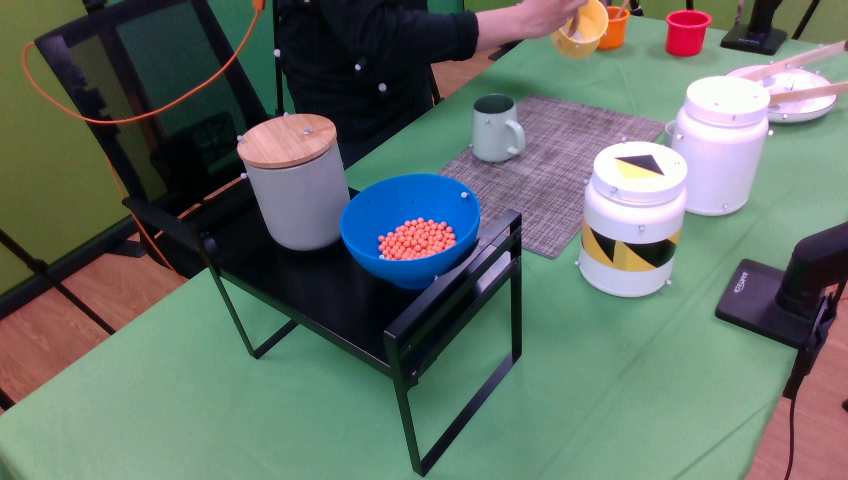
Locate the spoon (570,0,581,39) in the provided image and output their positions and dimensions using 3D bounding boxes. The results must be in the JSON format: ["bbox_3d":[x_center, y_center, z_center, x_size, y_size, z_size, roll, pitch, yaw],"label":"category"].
[{"bbox_3d":[0.272,-0.437,1.078,0.021,0.195,0.041,6,63,15],"label":"spoon"}]

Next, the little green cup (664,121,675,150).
[{"bbox_3d":[0.472,-0.188,1.113,0.061,0.039,0.061,-4,40,4],"label":"little green cup"}]

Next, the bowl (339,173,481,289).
[{"bbox_3d":[-0.011,0.001,0.660,0.151,0.077,0.150,-5,41,5],"label":"bowl"}]

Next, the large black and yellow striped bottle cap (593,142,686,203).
[{"bbox_3d":[0.280,-0.090,0.786,0.115,0.019,0.114,-5,41,5],"label":"large black and yellow striped bottle cap"}]

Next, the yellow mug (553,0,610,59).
[{"bbox_3d":[0.315,-0.438,1.211,0.100,0.064,0.130,5,80,0],"label":"yellow mug"}]

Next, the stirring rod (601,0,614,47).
[{"bbox_3d":[0.439,-0.552,1.463,0.014,0.006,0.175,-7,83,3],"label":"stirring rod"}]

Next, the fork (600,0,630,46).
[{"bbox_3d":[0.480,-0.556,1.452,0.028,0.019,0.207,40,103,37],"label":"fork"}]

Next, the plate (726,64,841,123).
[{"bbox_3d":[0.695,-0.282,1.189,0.207,0.039,0.206,-4,40,4],"label":"plate"}]

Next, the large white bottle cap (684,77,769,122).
[{"bbox_3d":[0.448,-0.210,0.898,0.115,0.018,0.114,-4,40,4],"label":"large white bottle cap"}]

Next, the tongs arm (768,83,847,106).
[{"bbox_3d":[0.738,-0.281,1.134,0.388,0.028,0.028,-9,47,-5],"label":"tongs arm"}]

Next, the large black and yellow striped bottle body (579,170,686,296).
[{"bbox_3d":[0.287,-0.027,0.841,0.131,0.185,0.130,-4,41,4],"label":"large black and yellow striped bottle body"}]

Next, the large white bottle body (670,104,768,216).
[{"bbox_3d":[0.458,-0.146,0.953,0.130,0.185,0.130,-4,40,4],"label":"large white bottle body"}]

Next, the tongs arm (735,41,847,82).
[{"bbox_3d":[0.712,-0.332,1.194,0.386,0.026,0.050,-18,45,-16],"label":"tongs arm"}]

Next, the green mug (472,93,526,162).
[{"bbox_3d":[0.144,-0.202,1.122,0.093,0.105,0.124,-29,45,-23],"label":"green mug"}]

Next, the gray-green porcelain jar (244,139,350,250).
[{"bbox_3d":[-0.144,-0.060,0.714,0.106,0.127,0.105,-4,41,4],"label":"gray-green porcelain jar"}]

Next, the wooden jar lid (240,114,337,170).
[{"bbox_3d":[-0.149,-0.106,0.673,0.108,0.021,0.108,-6,38,5],"label":"wooden jar lid"}]
